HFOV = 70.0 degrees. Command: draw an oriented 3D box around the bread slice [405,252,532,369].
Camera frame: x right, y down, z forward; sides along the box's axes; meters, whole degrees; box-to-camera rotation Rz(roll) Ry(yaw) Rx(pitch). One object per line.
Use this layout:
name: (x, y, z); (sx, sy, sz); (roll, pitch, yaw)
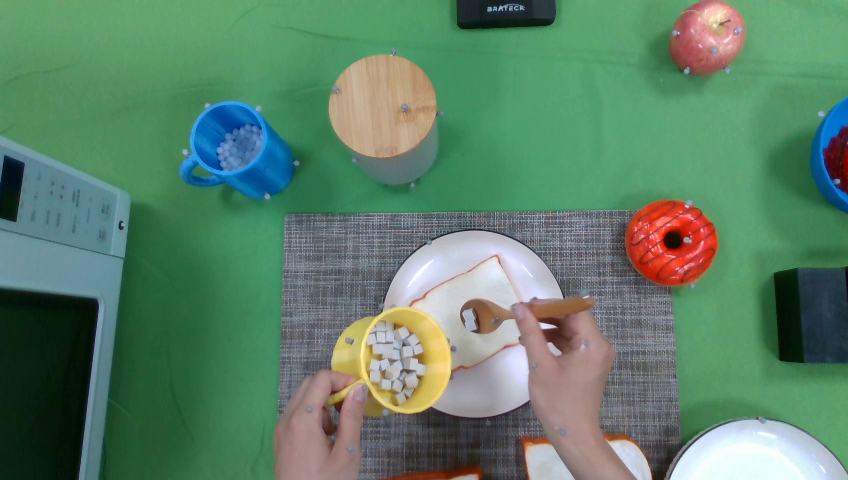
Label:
bread slice: (0.043, 0.087, 0.682); (0.131, 0.019, 0.104); (-26, 81, -3)

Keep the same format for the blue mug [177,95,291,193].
blue mug: (-0.220, -0.098, 0.685); (0.116, 0.106, 0.082); (-26, 81, -1)

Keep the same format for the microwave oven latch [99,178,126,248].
microwave oven latch: (-0.365, -0.031, 0.698); (0.030, 0.029, 0.079); (5, 83, 3)

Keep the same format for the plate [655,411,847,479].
plate: (0.345, 0.286, 0.643); (0.209, 0.038, 0.208); (0, 82, 3)

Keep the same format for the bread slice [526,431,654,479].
bread slice: (0.178, 0.257, 0.628); (0.135, 0.018, 0.106); (-5, 79, -18)

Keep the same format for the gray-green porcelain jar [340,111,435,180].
gray-green porcelain jar: (-0.040, -0.127, 0.671); (0.106, 0.127, 0.105); (0, 82, 3)

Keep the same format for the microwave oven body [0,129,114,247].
microwave oven body: (-0.528, 0.122, 0.587); (0.326, 0.261, 0.440); (3, 83, 2)

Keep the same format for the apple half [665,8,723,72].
apple half: (0.298, -0.219, 0.693); (0.033, 0.081, 0.081); (-33, 82, -7)

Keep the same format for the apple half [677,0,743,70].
apple half: (0.330, -0.241, 0.696); (0.053, 0.075, 0.080); (-32, 78, -7)

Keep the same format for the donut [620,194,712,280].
donut: (0.270, -0.003, 0.678); (0.099, 0.048, 0.099); (0, 83, 3)

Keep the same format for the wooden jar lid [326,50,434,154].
wooden jar lid: (-0.044, -0.137, 0.609); (0.108, 0.021, 0.108); (0, 80, 3)

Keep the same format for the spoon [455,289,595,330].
spoon: (0.088, 0.065, 0.572); (0.022, 0.193, 0.041); (-26, 94, -30)

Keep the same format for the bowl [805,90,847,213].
bowl: (0.485, -0.089, 0.667); (0.151, 0.077, 0.151); (0, 83, 3)

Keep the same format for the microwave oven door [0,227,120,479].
microwave oven door: (-0.385, 0.171, 0.569); (0.039, 0.244, 0.354); (2, 82, 3)

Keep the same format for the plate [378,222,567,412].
plate: (0.053, 0.085, 0.679); (0.207, 0.039, 0.207); (0, 82, 3)

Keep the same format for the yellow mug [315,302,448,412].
yellow mug: (-0.047, 0.121, 0.581); (0.131, 0.064, 0.100); (-26, 90, -36)
